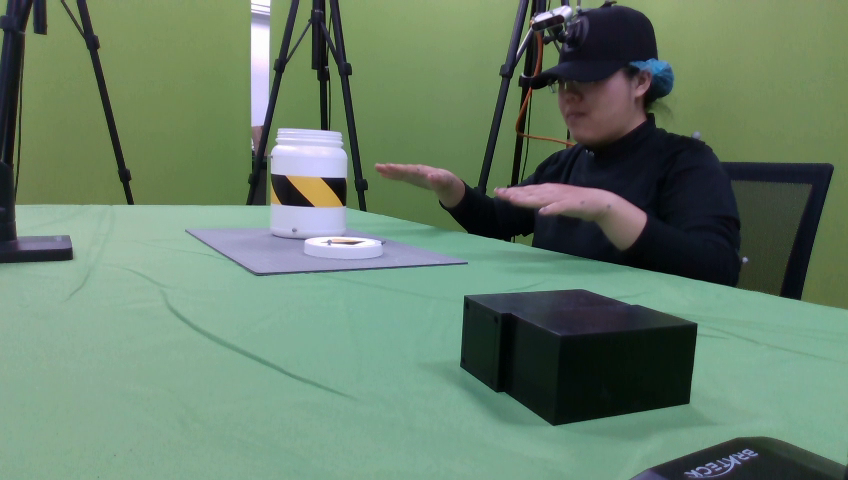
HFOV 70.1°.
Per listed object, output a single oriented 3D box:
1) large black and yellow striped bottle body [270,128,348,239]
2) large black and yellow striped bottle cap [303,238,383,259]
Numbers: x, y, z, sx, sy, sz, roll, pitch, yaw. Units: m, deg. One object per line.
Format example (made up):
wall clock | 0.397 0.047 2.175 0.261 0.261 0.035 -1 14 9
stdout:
large black and yellow striped bottle body | -0.200 -0.099 1.053 0.131 0.184 0.130 3 8 0
large black and yellow striped bottle cap | -0.117 0.011 0.880 0.115 0.019 0.115 2 6 0
